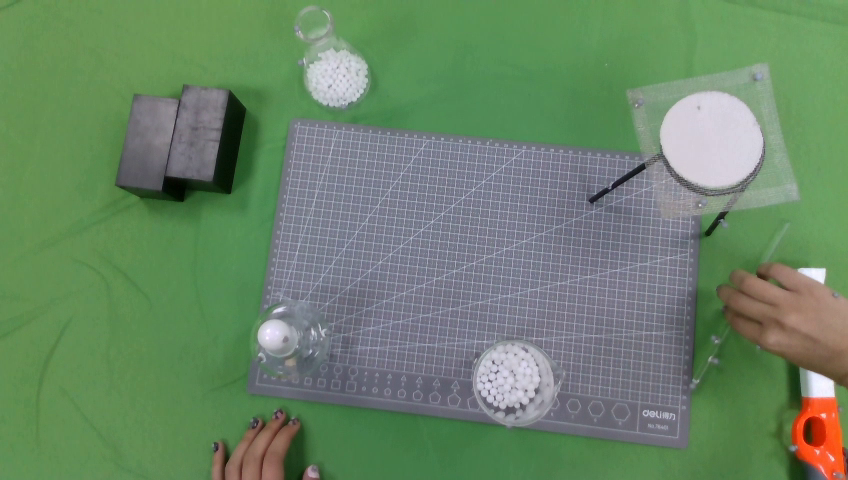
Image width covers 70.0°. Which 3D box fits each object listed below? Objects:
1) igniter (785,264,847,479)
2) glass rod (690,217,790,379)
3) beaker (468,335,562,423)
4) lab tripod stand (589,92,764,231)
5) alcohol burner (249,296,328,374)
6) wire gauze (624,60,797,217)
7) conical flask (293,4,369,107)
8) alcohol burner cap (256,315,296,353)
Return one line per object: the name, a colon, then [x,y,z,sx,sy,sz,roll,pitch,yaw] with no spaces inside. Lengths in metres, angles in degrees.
igniter: [0.385,0.161,0.597,0.057,0.025,0.275,1,82,-8]
glass rod: [0.325,0.057,0.621,0.008,0.008,0.199,34,83,7]
beaker: [0.082,0.128,0.575,0.084,0.100,0.073,-12,81,0]
lab tripod stand: [0.245,-0.072,0.584,0.148,0.132,0.148,0,82,2]
alcohol burner: [-0.134,0.090,0.581,0.078,0.119,0.077,0,79,1]
wire gauze: [0.245,-0.086,0.518,0.125,0.011,0.121,-9,82,0]
conical flask: [-0.101,-0.193,0.622,0.075,0.122,0.075,0,80,2]
alcohol burner cap: [-0.134,0.082,0.545,0.034,0.048,0.033,1,74,-5]
